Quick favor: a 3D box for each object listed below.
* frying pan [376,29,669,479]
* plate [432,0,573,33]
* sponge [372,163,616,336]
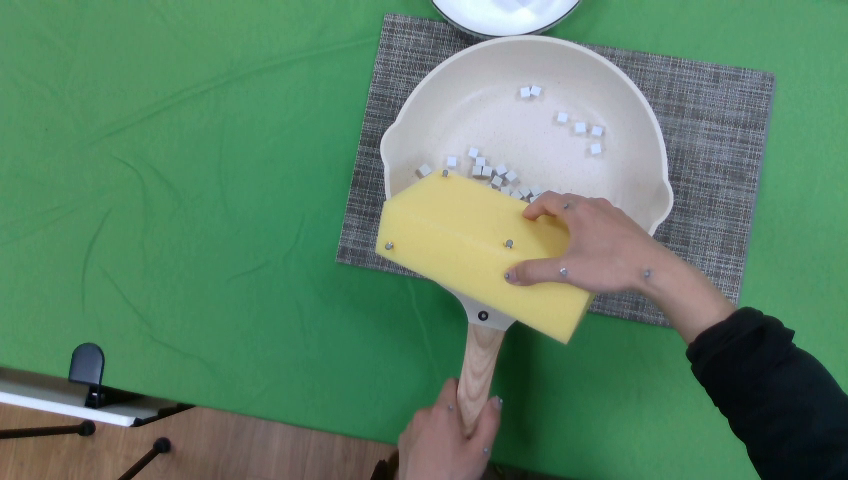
[{"bbox_3d":[0.076,0.025,0.637,0.306,0.103,0.486,14,79,6],"label":"frying pan"},{"bbox_3d":[0.091,-0.335,0.694,0.207,0.039,0.207,0,87,5],"label":"plate"},{"bbox_3d":[0.070,0.001,0.597,0.206,0.118,0.061,23,123,17],"label":"sponge"}]
